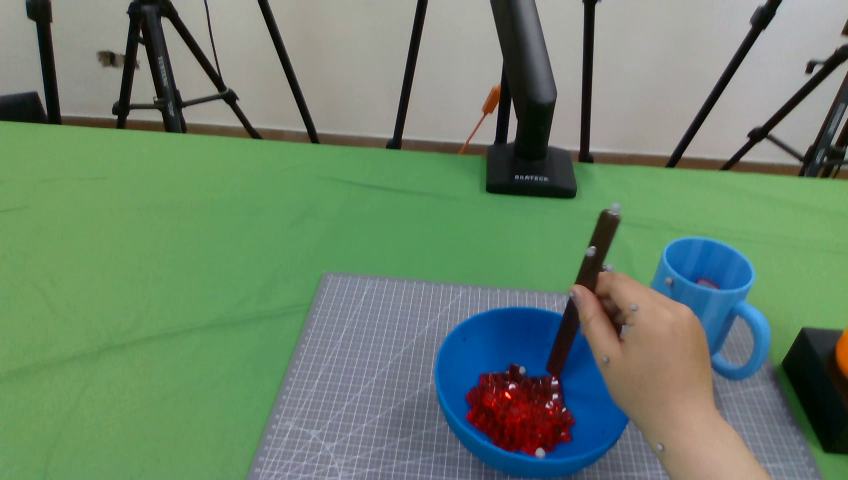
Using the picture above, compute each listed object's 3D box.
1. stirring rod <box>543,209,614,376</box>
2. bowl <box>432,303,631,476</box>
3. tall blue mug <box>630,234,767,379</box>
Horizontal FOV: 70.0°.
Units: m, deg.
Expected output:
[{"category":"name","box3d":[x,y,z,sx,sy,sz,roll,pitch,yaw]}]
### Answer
[{"category":"stirring rod","box3d":[0.110,0.046,0.443,0.014,0.177,0.006,27,48,22]},{"category":"bowl","box3d":[0.079,0.129,0.481,0.151,0.077,0.150,2,38,-1]},{"category":"tall blue mug","box3d":[0.253,0.065,0.547,0.106,0.109,0.077,23,42,24]}]
